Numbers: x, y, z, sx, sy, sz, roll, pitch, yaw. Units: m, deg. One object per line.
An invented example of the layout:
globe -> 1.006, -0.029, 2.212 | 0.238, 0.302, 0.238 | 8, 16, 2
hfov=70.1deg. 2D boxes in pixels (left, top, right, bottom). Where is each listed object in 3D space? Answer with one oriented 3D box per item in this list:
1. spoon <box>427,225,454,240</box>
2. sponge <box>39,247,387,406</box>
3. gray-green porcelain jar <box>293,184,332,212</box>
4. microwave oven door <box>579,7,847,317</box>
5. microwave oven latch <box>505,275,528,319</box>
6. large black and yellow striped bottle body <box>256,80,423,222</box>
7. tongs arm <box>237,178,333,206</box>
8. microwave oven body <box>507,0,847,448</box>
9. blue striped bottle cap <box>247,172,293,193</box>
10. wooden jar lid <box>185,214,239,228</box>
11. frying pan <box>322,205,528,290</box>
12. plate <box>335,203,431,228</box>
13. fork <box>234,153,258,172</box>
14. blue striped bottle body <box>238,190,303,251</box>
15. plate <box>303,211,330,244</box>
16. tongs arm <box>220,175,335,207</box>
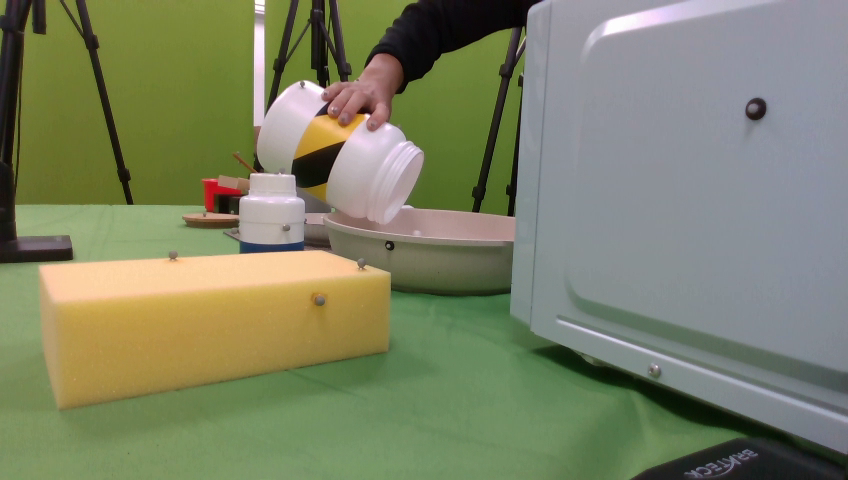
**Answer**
spoon -> 0.024, -0.019, 1.125 | 0.042, 0.021, 0.193 | -15, 9, -4
sponge -> -0.142, 0.047, 0.420 | 0.208, 0.061, 0.117 | -3, 10, -36
gray-green porcelain jar -> -0.238, -0.092, 1.221 | 0.106, 0.126, 0.106 | 2, 7, 0
microwave oven door -> 0.294, -0.067, 0.570 | 0.358, 0.243, 0.039 | -3, 9, -31
microwave oven latch -> 0.100, 0.042, 0.471 | 0.079, 0.029, 0.030 | -2, 7, -29
large black and yellow striped bottle body -> -0.106, -0.111, 0.785 | 0.184, 0.130, 0.131 | 28, 12, 8
tongs arm -> -0.241, -0.095, 1.374 | 0.387, 0.026, 0.050 | 9, 1, -37
microwave oven body -> 0.331, -0.042, 0.425 | 0.444, 0.260, 0.324 | -2, 8, -31
blue striped bottle cap -> -0.152, -0.057, 0.598 | 0.044, 0.020, 0.044 | 3, 7, 0
wooden jar lid -> -0.404, -0.037, 1.169 | 0.108, 0.020, 0.108 | 3, 7, 0
frying pan -> 0.109, -0.018, 0.800 | 0.490, 0.102, 0.305 | -12, 16, -30
plate -> -0.089, -0.053, 1.309 | 0.208, 0.039, 0.207 | 2, 8, 0
fork -> -0.396, -0.143, 1.486 | 0.028, 0.018, 0.208 | 19, -26, 45
blue striped bottle body -> -0.153, -0.007, 0.605 | 0.063, 0.120, 0.063 | 2, 7, 0
plate -> -0.139, -0.022, 1.021 | 0.209, 0.038, 0.209 | 2, 8, 0
tongs arm -> -0.285, -0.105, 1.445 | 0.389, 0.027, 0.028 | 10, -3, -23
